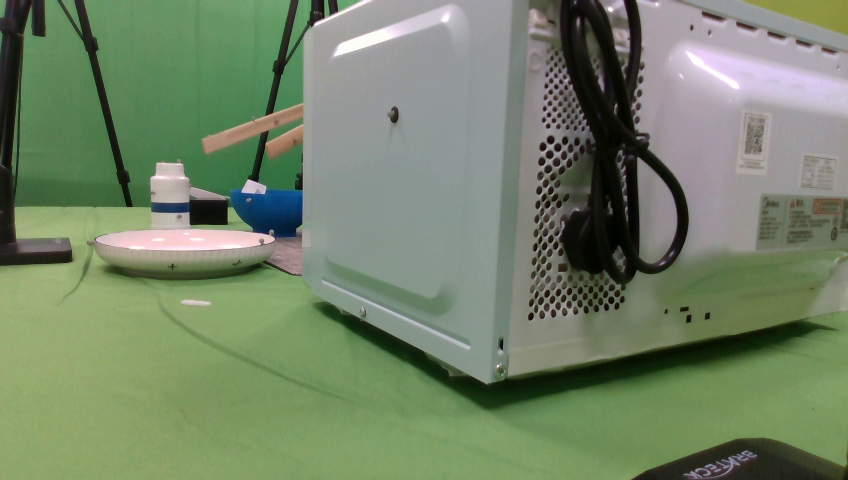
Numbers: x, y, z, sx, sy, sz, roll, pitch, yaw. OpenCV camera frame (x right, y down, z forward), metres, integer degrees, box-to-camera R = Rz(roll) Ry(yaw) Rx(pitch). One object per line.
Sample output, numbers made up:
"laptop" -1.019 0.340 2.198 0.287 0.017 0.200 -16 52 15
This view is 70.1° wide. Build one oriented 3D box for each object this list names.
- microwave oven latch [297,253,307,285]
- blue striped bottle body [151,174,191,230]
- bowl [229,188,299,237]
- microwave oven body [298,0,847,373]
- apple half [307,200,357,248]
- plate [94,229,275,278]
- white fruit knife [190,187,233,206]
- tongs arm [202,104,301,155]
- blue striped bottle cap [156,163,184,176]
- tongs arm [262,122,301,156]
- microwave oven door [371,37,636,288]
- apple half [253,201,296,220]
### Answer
"microwave oven latch" -0.082 0.027 0.582 0.079 0.029 0.030 -1 8 -32
"blue striped bottle body" -0.439 -0.071 1.052 0.063 0.120 0.063 2 7 0
"bowl" -0.264 -0.048 1.066 0.151 0.077 0.151 2 8 0
"microwave oven body" 0.151 -0.055 0.543 0.444 0.260 0.324 -1 8 -33
"apple half" -0.135 -0.024 0.942 0.053 0.074 0.081 13 9 38
"plate" -0.291 0.016 0.750 0.208 0.039 0.207 2 7 0
"white fruit knife" -0.413 -0.081 1.270 0.208 0.027 0.016 17 13 -41
"tongs arm" -0.241 -0.227 1.111 0.050 0.026 0.386 5 27 31
"blue striped bottle cap" -0.438 -0.122 1.045 0.044 0.020 0.044 4 6 0
"tongs arm" -0.178 -0.221 1.079 0.028 0.028 0.388 -4 24 23
"microwave oven door" 0.109 -0.080 0.686 0.358 0.243 0.039 -2 9 -33
"apple half" -0.264 -0.053 1.066 0.081 0.033 0.081 1 8 0
